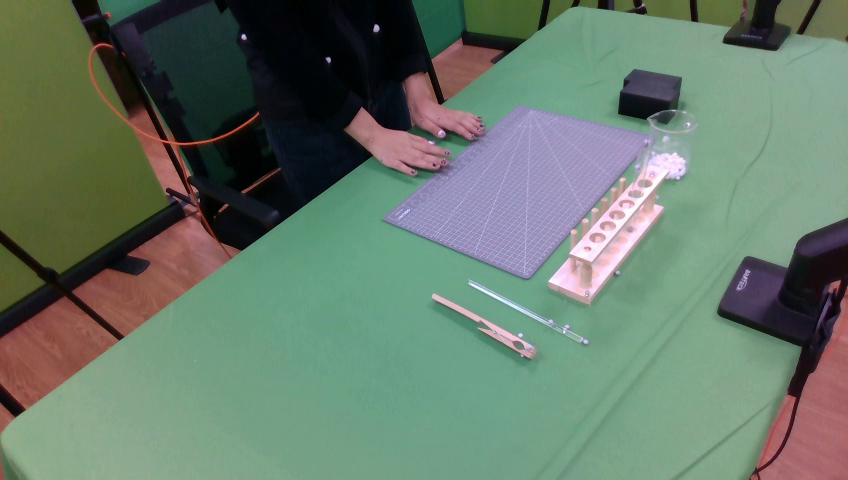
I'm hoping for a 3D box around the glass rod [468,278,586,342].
[{"bbox_3d":[0.140,0.096,0.853,0.198,0.008,0.008,27,52,35],"label":"glass rod"}]

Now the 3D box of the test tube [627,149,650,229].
[{"bbox_3d":[0.311,-0.071,0.881,0.017,0.151,0.017,-5,47,5],"label":"test tube"}]

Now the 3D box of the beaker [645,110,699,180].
[{"bbox_3d":[0.417,-0.160,1.032,0.083,0.101,0.074,25,51,35],"label":"beaker"}]

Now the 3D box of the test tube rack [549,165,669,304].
[{"bbox_3d":[0.279,-0.018,0.902,0.066,0.085,0.243,24,50,33],"label":"test tube rack"}]

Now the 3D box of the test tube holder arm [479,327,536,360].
[{"bbox_3d":[0.110,0.134,0.805,0.087,0.015,0.010,29,83,36],"label":"test tube holder arm"}]

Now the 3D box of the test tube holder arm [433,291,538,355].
[{"bbox_3d":[0.081,0.112,0.832,0.177,0.015,0.013,29,82,36],"label":"test tube holder arm"}]
